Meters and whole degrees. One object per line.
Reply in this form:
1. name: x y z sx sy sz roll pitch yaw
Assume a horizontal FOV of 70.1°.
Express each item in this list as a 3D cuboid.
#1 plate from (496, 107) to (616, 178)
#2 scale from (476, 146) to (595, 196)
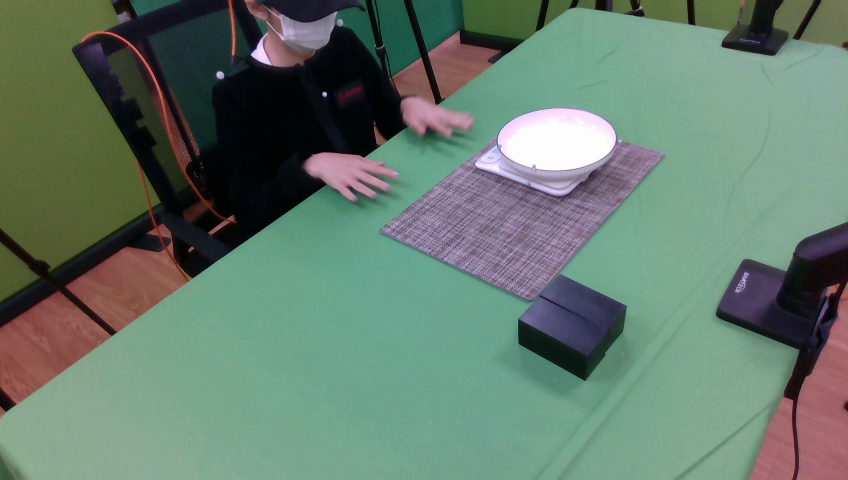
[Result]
1. plate: 0.232 -0.169 1.074 0.207 0.039 0.206 -5 41 5
2. scale: 0.209 -0.148 1.105 0.199 0.032 0.149 26 50 34
